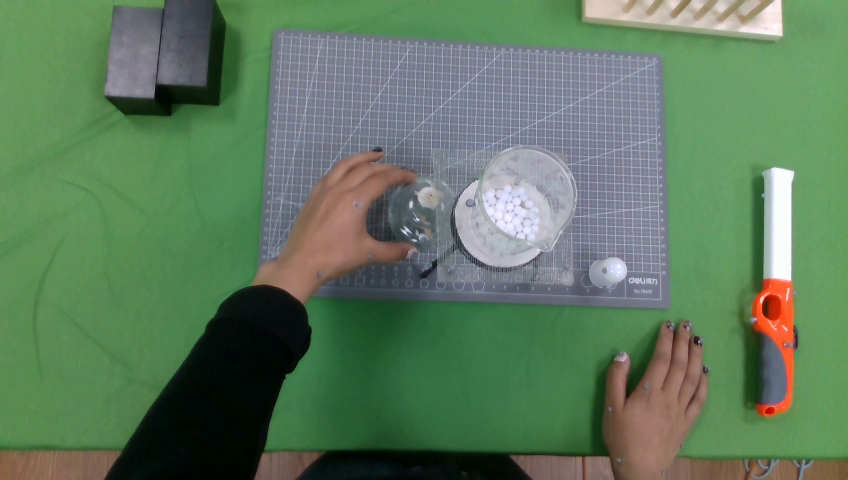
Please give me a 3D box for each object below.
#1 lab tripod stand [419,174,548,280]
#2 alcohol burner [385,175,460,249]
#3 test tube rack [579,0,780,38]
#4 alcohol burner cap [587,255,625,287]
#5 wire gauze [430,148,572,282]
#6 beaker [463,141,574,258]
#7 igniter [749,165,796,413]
[{"bbox_3d":[0.061,-0.009,0.600,0.148,0.132,0.148,1,80,-3],"label":"lab tripod stand"},{"bbox_3d":[0.000,-0.033,0.609,0.078,0.119,0.077,1,78,-5],"label":"alcohol burner"},{"bbox_3d":[0.309,-0.291,0.691,0.243,0.085,0.066,3,81,-4],"label":"test tube rack"},{"bbox_3d":[0.198,0.033,0.652,0.034,0.048,0.033,1,80,-3],"label":"alcohol burner cap"},{"bbox_3d":[0.068,-0.023,0.536,0.125,0.011,0.121,0,79,-2],"label":"wire gauze"},{"bbox_3d":[0.072,-0.024,0.488,0.074,0.100,0.083,-21,82,-7],"label":"beaker"},{"bbox_3d":[0.389,0.052,0.675,0.057,0.025,0.275,8,81,-13],"label":"igniter"}]
